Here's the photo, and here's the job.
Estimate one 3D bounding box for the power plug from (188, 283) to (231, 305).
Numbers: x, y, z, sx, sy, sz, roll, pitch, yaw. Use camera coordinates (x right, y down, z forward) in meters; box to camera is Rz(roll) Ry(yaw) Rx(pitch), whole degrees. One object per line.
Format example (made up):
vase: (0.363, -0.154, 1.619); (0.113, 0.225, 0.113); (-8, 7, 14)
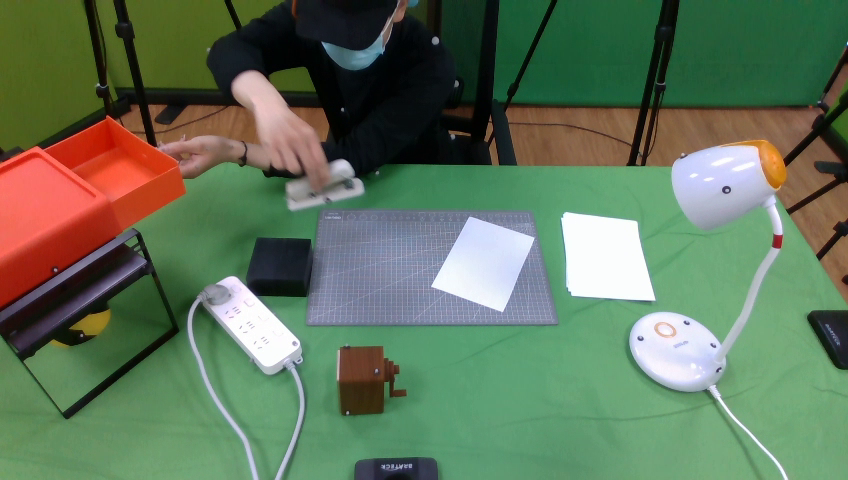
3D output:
power plug: (-0.368, 0.099, 1.037); (0.072, 0.053, 0.035); (-24, 52, -25)

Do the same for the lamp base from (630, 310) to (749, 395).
lamp base: (0.447, 0.142, 0.984); (0.161, 0.181, 0.178); (-24, 55, -24)

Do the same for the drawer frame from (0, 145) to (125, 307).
drawer frame: (-0.597, -0.024, 0.887); (0.201, 0.083, 0.213); (30, 52, 22)

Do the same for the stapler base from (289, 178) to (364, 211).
stapler base: (-0.169, -0.084, 1.035); (0.130, 0.024, 0.041); (-15, 43, -2)

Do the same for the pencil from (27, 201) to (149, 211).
pencil: (-0.529, -0.052, 0.954); (0.194, 0.012, 0.012); (2, 46, 2)

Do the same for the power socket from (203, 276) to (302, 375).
power socket: (-0.297, 0.141, 1.034); (0.072, 0.033, 0.225); (-34, 58, -30)

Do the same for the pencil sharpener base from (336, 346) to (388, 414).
pencil sharpener base: (-0.094, 0.215, 0.927); (0.077, 0.107, 0.061); (-1, 46, -6)

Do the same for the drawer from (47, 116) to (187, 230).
drawer: (-0.525, -0.088, 0.958); (0.193, 0.073, 0.211); (31, 52, 23)

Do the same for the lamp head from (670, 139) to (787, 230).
lamp head: (0.415, -0.079, 0.812); (0.113, 0.123, 0.112); (13, 70, -37)

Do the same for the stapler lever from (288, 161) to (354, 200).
stapler lever: (-0.175, -0.101, 1.017); (0.118, 0.040, 0.026); (-15, 43, -2)

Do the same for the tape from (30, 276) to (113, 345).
tape: (-0.594, 0.117, 1.022); (0.117, 0.053, 0.116); (2, 45, -2)

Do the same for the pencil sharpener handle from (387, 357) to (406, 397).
pencil sharpener handle: (-0.041, 0.209, 0.919); (0.031, 0.068, 0.036); (-1, 25, -6)
